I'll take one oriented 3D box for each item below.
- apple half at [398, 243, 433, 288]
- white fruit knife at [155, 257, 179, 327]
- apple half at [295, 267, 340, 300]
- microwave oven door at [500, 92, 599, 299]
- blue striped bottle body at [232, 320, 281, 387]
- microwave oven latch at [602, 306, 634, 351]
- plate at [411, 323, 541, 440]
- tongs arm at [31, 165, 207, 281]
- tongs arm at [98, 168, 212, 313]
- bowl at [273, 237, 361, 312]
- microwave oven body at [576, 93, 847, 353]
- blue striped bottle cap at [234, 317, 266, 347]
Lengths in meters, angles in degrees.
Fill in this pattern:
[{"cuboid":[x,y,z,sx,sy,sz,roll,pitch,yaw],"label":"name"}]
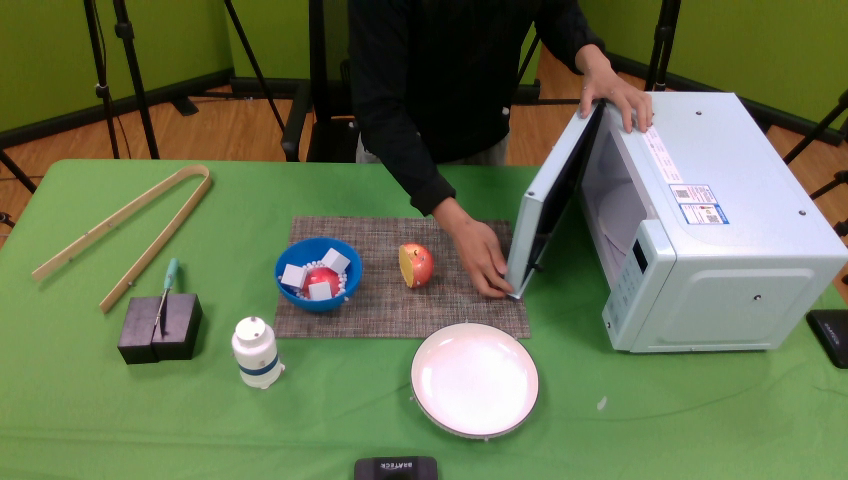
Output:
[{"cuboid":[-0.011,0.046,1.115,0.053,0.075,0.080,-11,43,-19],"label":"apple half"},{"cuboid":[-0.440,0.085,1.037,0.016,0.027,0.206,10,26,-19],"label":"white fruit knife"},{"cuboid":[-0.187,0.071,1.067,0.081,0.033,0.081,4,46,-4],"label":"apple half"},{"cuboid":[0.241,-0.090,1.132,0.039,0.245,0.355,22,48,16],"label":"microwave oven door"},{"cuboid":[-0.262,0.171,0.944,0.063,0.121,0.062,2,46,-2],"label":"blue striped bottle body"},{"cuboid":[0.332,0.153,1.044,0.030,0.029,0.078,0,45,-4],"label":"microwave oven latch"},{"cuboid":[0.082,0.228,0.976,0.208,0.039,0.206,2,45,-2],"label":"plate"},{"cuboid":[-0.578,-0.040,1.184,0.050,0.026,0.384,23,48,17],"label":"tongs arm"},{"cuboid":[-0.504,-0.012,1.167,0.028,0.028,0.385,11,46,11],"label":"tongs arm"},{"cuboid":[-0.186,0.074,1.070,0.151,0.077,0.150,3,46,-3],"label":"bowl"},{"cuboid":[0.476,-0.041,1.110,0.326,0.261,0.438,-1,45,-4],"label":"microwave oven body"},{"cuboid":[-0.260,0.137,0.906,0.044,0.021,0.044,5,42,-4],"label":"blue striped bottle cap"}]
